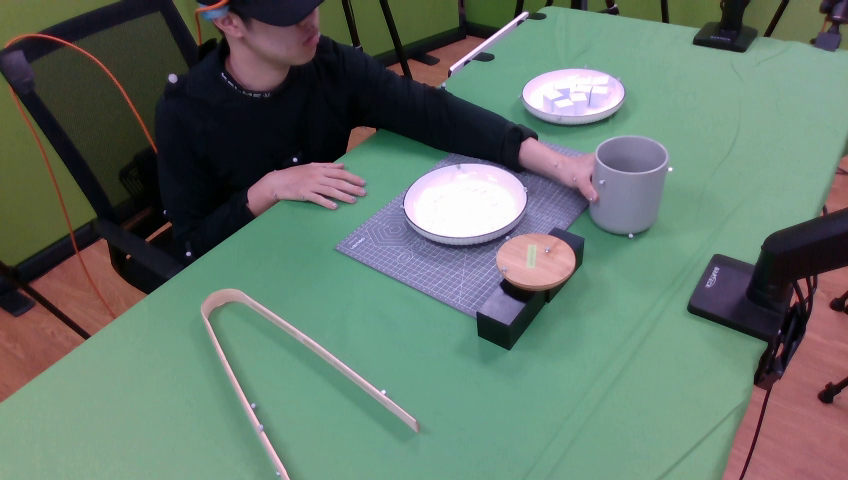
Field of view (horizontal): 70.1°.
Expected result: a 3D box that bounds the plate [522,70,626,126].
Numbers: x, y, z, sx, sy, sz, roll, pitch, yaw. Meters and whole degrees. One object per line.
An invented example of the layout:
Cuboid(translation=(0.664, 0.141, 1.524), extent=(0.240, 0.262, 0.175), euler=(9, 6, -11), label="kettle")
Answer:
Cuboid(translation=(0.308, -0.289, 1.251), extent=(0.207, 0.039, 0.206), euler=(-4, 40, 4), label="plate")

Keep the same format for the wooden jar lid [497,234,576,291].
Cuboid(translation=(0.155, 0.032, 0.834), extent=(0.108, 0.021, 0.108), euler=(-5, 40, 5), label="wooden jar lid")

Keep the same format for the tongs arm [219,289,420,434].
Cuboid(translation=(-0.152, 0.151, 0.812), extent=(0.384, 0.028, 0.028), euler=(26, 53, 33), label="tongs arm")

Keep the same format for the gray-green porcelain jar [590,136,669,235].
Cuboid(translation=(0.314, -0.080, 0.937), extent=(0.106, 0.127, 0.105), euler=(-4, 41, 4), label="gray-green porcelain jar")

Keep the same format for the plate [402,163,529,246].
Cuboid(translation=(0.070, -0.056, 1.008), extent=(0.209, 0.038, 0.208), euler=(-4, 40, 4), label="plate")

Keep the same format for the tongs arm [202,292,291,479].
Cuboid(translation=(-0.216, 0.187, 0.772), extent=(0.051, 0.026, 0.381), euler=(-27, 43, -24), label="tongs arm")
